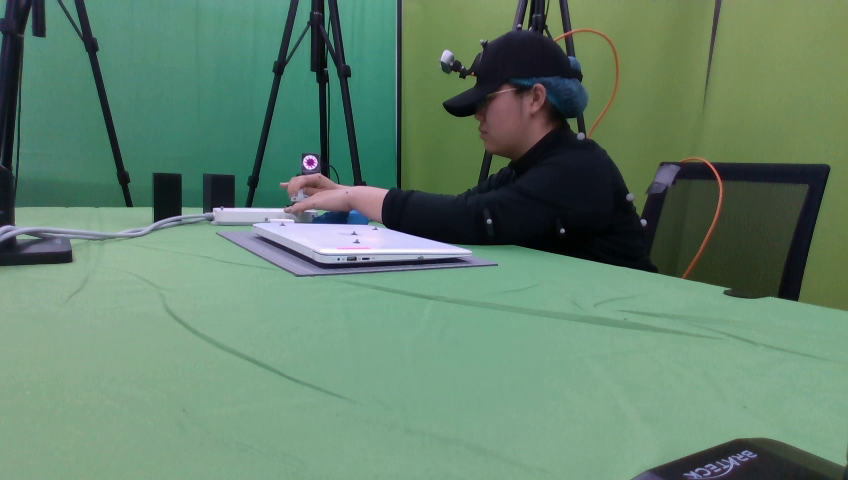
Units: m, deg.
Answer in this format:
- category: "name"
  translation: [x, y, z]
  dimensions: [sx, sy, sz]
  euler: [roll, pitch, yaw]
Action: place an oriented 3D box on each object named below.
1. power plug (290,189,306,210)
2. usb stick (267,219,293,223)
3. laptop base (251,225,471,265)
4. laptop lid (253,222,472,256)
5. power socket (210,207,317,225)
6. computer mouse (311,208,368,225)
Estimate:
- category: "power plug"
  translation: [-0.279, -0.084, 1.339]
  dimensions: [0.035, 0.052, 0.072]
  euler: [1, -11, -12]
- category: "usb stick"
  translation: [-0.272, -0.025, 1.108]
  dimensions: [0.059, 0.027, 0.021]
  euler: [-4, 11, -27]
- category: "laptop base"
  translation: [-0.116, 0.007, 0.955]
  dimensions: [0.237, 0.023, 0.352]
  euler: [2, 6, -31]
- category: "laptop lid"
  translation: [-0.113, -0.005, 0.955]
  dimensions: [0.243, 0.013, 0.355]
  euler: [1, 7, -29]
- category: "power socket"
  translation: [-0.335, -0.051, 1.282]
  dimensions: [0.228, 0.032, 0.072]
  euler: [-1, 9, -28]
- category: "computer mouse"
  translation: [-0.178, -0.045, 1.274]
  dimensions: [0.118, 0.041, 0.062]
  euler: [-6, 13, -26]
